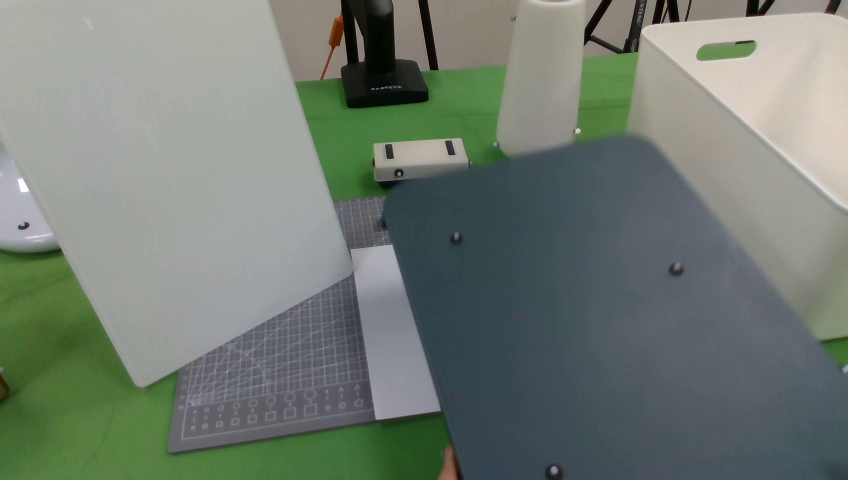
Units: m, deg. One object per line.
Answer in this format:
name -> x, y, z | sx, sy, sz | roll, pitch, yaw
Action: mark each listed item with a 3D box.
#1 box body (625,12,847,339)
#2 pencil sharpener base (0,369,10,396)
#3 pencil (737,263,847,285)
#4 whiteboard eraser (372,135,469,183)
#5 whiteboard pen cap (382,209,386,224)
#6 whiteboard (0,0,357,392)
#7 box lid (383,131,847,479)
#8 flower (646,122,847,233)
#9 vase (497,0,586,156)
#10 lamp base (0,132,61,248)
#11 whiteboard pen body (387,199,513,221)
box body -> 0.395, -0.084, 0.621 | 0.254, 0.162, 0.360 | -8, 41, -8
pencil sharpener base -> -0.387, 0.086, 0.464 | 0.076, 0.108, 0.061 | 24, 47, 26
pencil -> 0.405, 0.039, 0.586 | 0.194, 0.012, 0.012 | 7, 41, 7
whiteboard eraser -> -0.005, -0.095, 0.725 | 0.113, 0.042, 0.055 | -6, 39, -5
whiteboard pen cap -> -0.029, -0.027, 0.661 | 0.033, 0.018, 0.018 | -3, 41, -7
whiteboard -> -0.222, -0.069, 0.536 | 0.217, 0.308, 0.142 | -29, 29, -28
box lid -> 0.127, 0.053, 0.447 | 0.263, 0.015, 0.367 | -14, 48, -7
flower -> 0.408, -0.044, 0.672 | 0.044, 0.038, 0.358 | -25, 49, -34
vase -> 0.142, -0.189, 0.714 | 0.098, 0.202, 0.097 | 1, 41, 0
lamp base -> -0.420, -0.108, 0.633 | 0.178, 0.182, 0.160 | 20, 45, 25
whiteboard pen body -> 0.029, -0.032, 0.667 | 0.141, 0.017, 0.017 | -5, 41, -5
